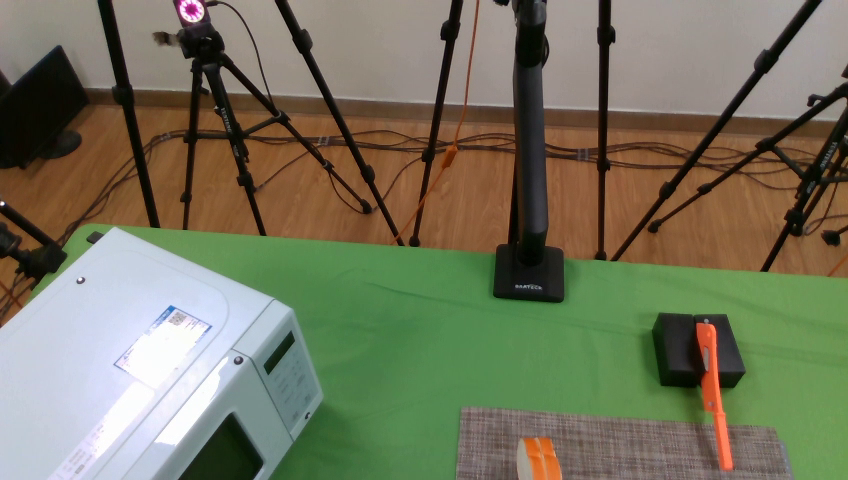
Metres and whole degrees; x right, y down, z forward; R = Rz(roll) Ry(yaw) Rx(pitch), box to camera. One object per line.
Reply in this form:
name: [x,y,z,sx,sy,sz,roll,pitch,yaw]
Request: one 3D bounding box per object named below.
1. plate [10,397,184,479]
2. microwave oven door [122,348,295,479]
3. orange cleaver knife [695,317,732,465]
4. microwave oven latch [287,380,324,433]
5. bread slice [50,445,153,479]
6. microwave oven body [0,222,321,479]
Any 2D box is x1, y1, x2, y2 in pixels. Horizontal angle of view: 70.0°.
plate: [-0.412,0.304,0.776,0.208,0.039,0.205,1,48,-1]
microwave oven door: [-0.285,0.320,0.679,0.039,0.246,0.354,20,54,20]
orange cleaver knife: [0.409,0.209,0.865,0.012,0.078,0.210,-1,71,5]
microwave oven latch: [-0.175,0.236,0.878,0.030,0.030,0.079,22,55,19]
bread slice: [-0.410,0.329,0.764,0.135,0.018,0.106,-12,49,-21]
microwave oven body: [-0.394,0.246,0.753,0.324,0.262,0.439,21,55,19]
